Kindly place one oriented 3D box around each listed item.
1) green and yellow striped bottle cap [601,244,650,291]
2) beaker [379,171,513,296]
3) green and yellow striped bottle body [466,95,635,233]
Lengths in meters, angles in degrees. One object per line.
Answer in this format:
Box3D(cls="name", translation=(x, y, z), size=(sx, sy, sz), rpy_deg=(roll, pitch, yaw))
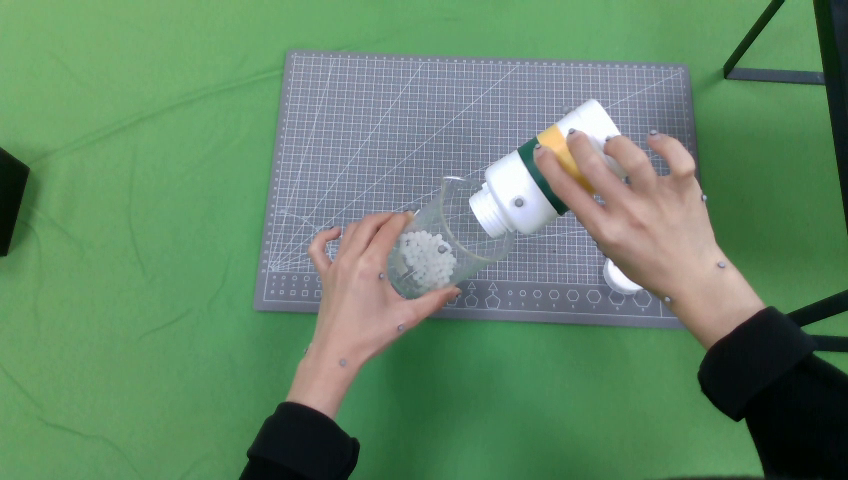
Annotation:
Box3D(cls="green and yellow striped bottle cap", translation=(0.199, 0.027, 0.599), size=(0.045, 0.020, 0.045), rpy_deg=(0, 70, 0))
Box3D(cls="beaker", translation=(0.013, -0.002, 0.512), size=(0.074, 0.100, 0.084), rpy_deg=(-32, 87, -44))
Box3D(cls="green and yellow striped bottle body", translation=(0.092, -0.052, 0.463), size=(0.119, 0.063, 0.063), rpy_deg=(-33, 73, 16))
